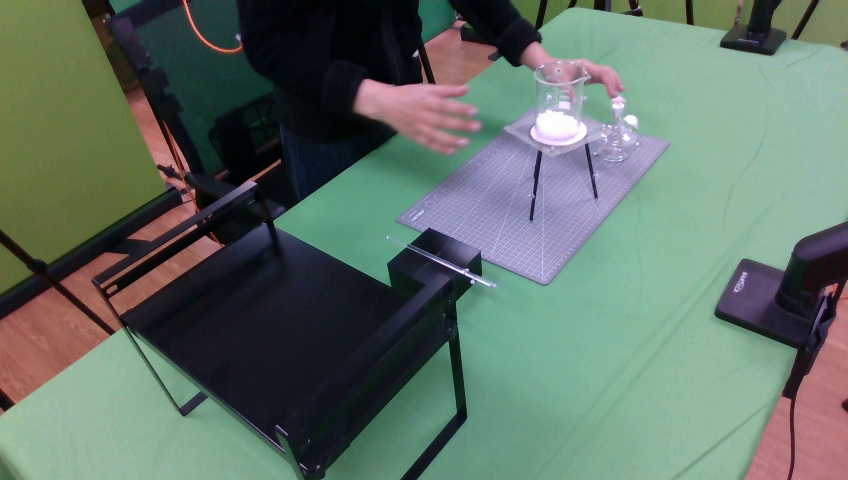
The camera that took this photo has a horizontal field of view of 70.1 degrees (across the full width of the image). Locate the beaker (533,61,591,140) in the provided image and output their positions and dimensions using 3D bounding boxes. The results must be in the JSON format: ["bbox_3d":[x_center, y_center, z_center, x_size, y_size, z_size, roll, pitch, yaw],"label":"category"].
[{"bbox_3d":[0.208,-0.210,0.922,0.083,0.101,0.074,5,44,14],"label":"beaker"}]

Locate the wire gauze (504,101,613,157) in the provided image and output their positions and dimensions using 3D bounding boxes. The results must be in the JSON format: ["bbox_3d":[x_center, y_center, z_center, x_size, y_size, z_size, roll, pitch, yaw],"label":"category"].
[{"bbox_3d":[0.211,-0.175,0.956,0.125,0.011,0.120,-26,43,-17],"label":"wire gauze"}]

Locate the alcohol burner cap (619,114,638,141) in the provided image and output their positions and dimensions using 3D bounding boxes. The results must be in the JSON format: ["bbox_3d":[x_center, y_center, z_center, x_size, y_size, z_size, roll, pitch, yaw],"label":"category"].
[{"bbox_3d":[0.389,-0.215,1.145,0.034,0.048,0.033,-4,41,4],"label":"alcohol burner cap"}]

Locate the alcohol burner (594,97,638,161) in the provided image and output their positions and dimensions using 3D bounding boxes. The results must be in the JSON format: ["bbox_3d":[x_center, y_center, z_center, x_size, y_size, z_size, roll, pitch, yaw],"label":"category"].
[{"bbox_3d":[0.345,-0.203,1.083,0.078,0.119,0.077,-5,42,5],"label":"alcohol burner"}]

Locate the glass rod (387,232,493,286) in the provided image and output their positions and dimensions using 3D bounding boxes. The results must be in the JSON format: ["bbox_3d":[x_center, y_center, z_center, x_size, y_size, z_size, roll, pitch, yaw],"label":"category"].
[{"bbox_3d":[0.018,0.026,0.878,0.198,0.008,0.008,25,50,33],"label":"glass rod"}]

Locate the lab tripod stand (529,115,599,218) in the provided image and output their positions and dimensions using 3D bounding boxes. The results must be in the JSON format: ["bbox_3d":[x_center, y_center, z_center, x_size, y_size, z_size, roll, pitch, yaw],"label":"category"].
[{"bbox_3d":[0.217,-0.123,0.996,0.148,0.132,0.147,-4,43,4],"label":"lab tripod stand"}]
